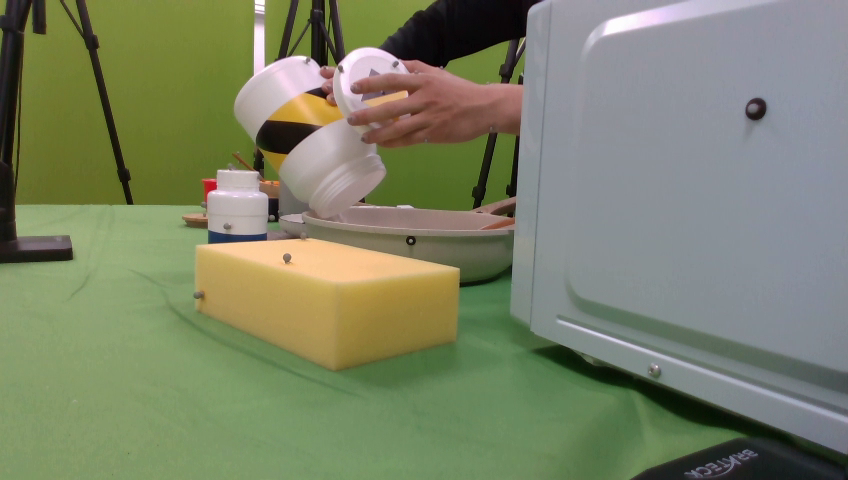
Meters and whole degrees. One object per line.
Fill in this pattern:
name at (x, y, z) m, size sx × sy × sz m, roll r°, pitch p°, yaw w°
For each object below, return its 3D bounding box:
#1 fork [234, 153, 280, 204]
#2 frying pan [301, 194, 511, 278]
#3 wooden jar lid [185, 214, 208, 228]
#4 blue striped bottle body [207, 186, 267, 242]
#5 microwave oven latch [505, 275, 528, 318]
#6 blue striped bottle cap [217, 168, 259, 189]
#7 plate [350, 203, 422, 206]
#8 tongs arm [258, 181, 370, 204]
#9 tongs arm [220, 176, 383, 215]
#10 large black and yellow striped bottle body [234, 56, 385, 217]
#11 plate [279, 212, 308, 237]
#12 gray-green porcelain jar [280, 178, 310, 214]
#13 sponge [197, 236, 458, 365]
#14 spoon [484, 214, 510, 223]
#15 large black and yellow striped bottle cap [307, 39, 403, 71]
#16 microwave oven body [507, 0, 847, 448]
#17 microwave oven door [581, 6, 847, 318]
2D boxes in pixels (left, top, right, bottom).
fork at (-0.396, -0.143, 1.486) m, size 0.028 × 0.018 × 0.208 m, roll 20°, pitch -26°, yaw 45°
frying pan at (0.050, -0.028, 0.864) m, size 0.305 × 0.102 × 0.490 m, roll 8°, pitch 18°, yaw 35°
wooden jar lid at (-0.404, -0.037, 1.169) m, size 0.108 × 0.020 × 0.108 m, roll 3°, pitch 7°, yaw 0°
blue striped bottle body at (-0.204, -0.016, 0.663) m, size 0.063 × 0.120 × 0.063 m, roll 2°, pitch 7°, yaw 0°
microwave oven latch at (0.100, 0.042, 0.472) m, size 0.079 × 0.029 × 0.030 m, roll -2°, pitch 8°, yaw -31°
blue striped bottle cap at (-0.202, -0.067, 0.656) m, size 0.044 × 0.020 × 0.044 m, roll 0°, pitch 11°, yaw 0°
plate at (-0.089, -0.054, 1.309) m, size 0.208 × 0.039 × 0.207 m, roll 2°, pitch 8°, yaw 0°
tongs arm at (-0.241, -0.095, 1.373) m, size 0.387 × 0.026 × 0.050 m, roll 9°, pitch 0°, yaw -37°
tongs arm at (-0.285, -0.104, 1.445) m, size 0.389 × 0.027 × 0.028 m, roll 10°, pitch -4°, yaw -23°
large black and yellow striped bottle body at (-0.148, -0.135, 0.805) m, size 0.131 × 0.184 × 0.131 m, roll -37°, pitch -5°, yaw -4°
plate at (-0.139, -0.022, 1.021) m, size 0.209 × 0.038 × 0.209 m, roll 2°, pitch 8°, yaw 0°
gray-green porcelain jar at (-0.238, -0.092, 1.221) m, size 0.106 × 0.126 × 0.106 m, roll 2°, pitch 7°, yaw 0°
sponge at (-0.087, 0.039, 0.500) m, size 0.206 × 0.061 × 0.119 m, roll 8°, pitch 10°, yaw 44°
spoon at (0.076, -0.013, 0.793) m, size 0.193 × 0.021 × 0.042 m, roll -23°, pitch -2°, yaw 11°
large black and yellow striped bottle cap at (-0.081, -0.221, 0.724) m, size 0.115 × 0.019 × 0.115 m, roll -9°, pitch 12°, yaw 2°
microwave oven body at (0.331, -0.042, 0.425) m, size 0.444 × 0.260 × 0.324 m, roll -2°, pitch 8°, yaw -31°
microwave oven door at (0.295, -0.067, 0.569) m, size 0.358 × 0.243 × 0.039 m, roll -3°, pitch 8°, yaw -31°
